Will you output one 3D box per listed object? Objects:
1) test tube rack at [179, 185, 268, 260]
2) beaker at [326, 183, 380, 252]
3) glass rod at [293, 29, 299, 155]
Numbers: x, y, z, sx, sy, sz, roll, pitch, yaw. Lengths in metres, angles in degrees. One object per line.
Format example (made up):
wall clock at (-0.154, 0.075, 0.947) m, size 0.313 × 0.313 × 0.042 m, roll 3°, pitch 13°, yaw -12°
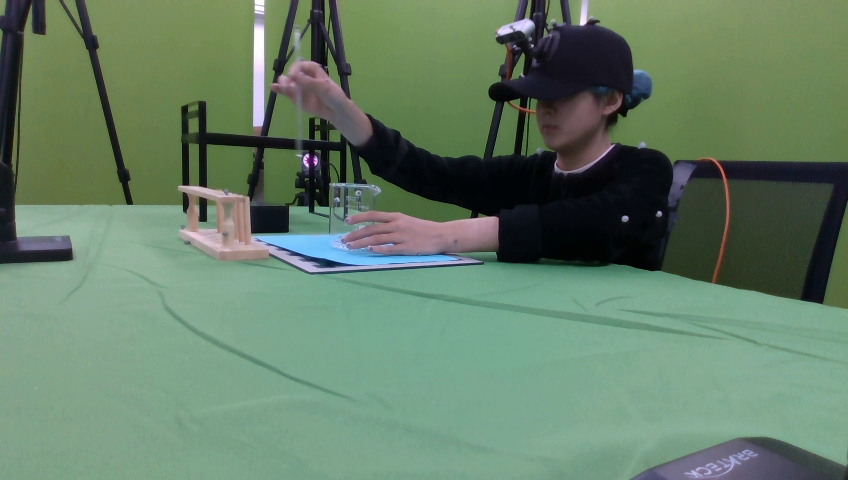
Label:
test tube rack at (-0.303, -0.031, 0.898) m, size 0.067 × 0.085 × 0.241 m, roll -2°, pitch 9°, yaw -33°
beaker at (-0.108, -0.035, 0.921) m, size 0.084 × 0.100 × 0.074 m, roll 5°, pitch 8°, yaw 14°
glass rod at (-0.192, -0.223, 0.904) m, size 0.008 × 0.199 × 0.008 m, roll -3°, pitch -9°, yaw 0°
